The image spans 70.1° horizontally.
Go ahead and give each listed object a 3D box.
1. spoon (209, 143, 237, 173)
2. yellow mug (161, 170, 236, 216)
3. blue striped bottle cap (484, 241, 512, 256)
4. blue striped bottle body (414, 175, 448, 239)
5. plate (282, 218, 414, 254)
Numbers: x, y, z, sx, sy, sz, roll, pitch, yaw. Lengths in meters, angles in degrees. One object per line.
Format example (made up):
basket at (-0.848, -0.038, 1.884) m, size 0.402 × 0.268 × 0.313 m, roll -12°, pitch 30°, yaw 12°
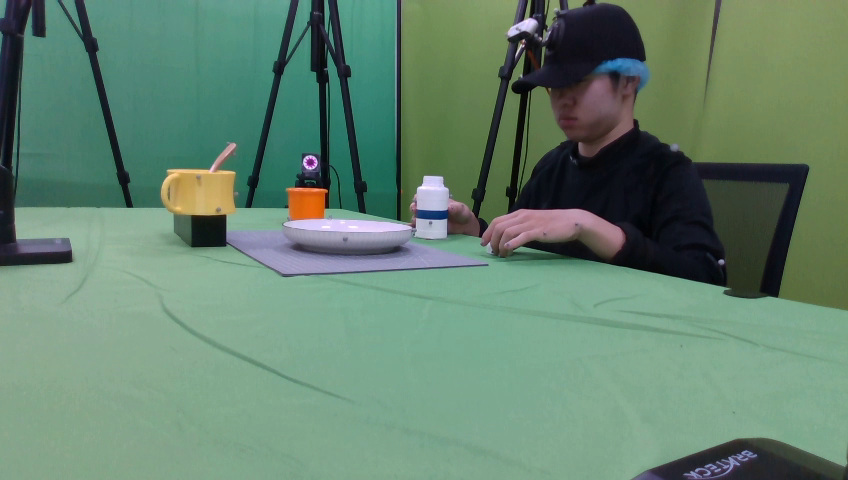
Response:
spoon at (-0.341, -0.113, 0.990) m, size 0.041 × 0.021 × 0.193 m, roll 1°, pitch 39°, yaw 7°
yellow mug at (-0.354, -0.074, 0.935) m, size 0.099 × 0.064 × 0.131 m, roll 5°, pitch 9°, yaw 21°
blue striped bottle cap at (0.123, 0.014, 1.000) m, size 0.044 × 0.020 × 0.044 m, roll 8°, pitch 6°, yaw 0°
blue striped bottle body at (0.014, -0.065, 1.166) m, size 0.063 × 0.120 × 0.063 m, roll 2°, pitch 8°, yaw 0°
plate at (-0.121, -0.007, 0.971) m, size 0.208 × 0.039 × 0.207 m, roll 2°, pitch 7°, yaw 0°
